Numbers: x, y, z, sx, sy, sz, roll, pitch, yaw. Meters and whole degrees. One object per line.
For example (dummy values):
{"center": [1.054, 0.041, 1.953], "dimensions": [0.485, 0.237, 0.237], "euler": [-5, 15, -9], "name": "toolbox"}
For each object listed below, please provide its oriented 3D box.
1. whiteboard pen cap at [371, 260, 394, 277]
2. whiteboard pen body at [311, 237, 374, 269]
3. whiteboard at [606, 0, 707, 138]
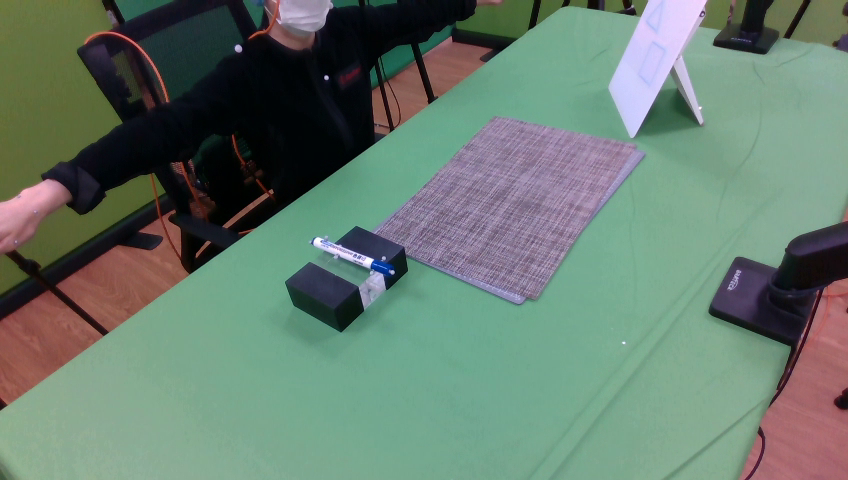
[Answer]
{"center": [-0.061, 0.040, 0.862], "dimensions": [0.033, 0.018, 0.018], "euler": [19, 47, 27], "name": "whiteboard pen cap"}
{"center": [-0.111, 0.022, 0.891], "dimensions": [0.140, 0.017, 0.017], "euler": [19, 47, 28], "name": "whiteboard pen body"}
{"center": [0.496, -0.359, 1.147], "dimensions": [0.144, 0.305, 0.216], "euler": [11, 40, -7], "name": "whiteboard"}
